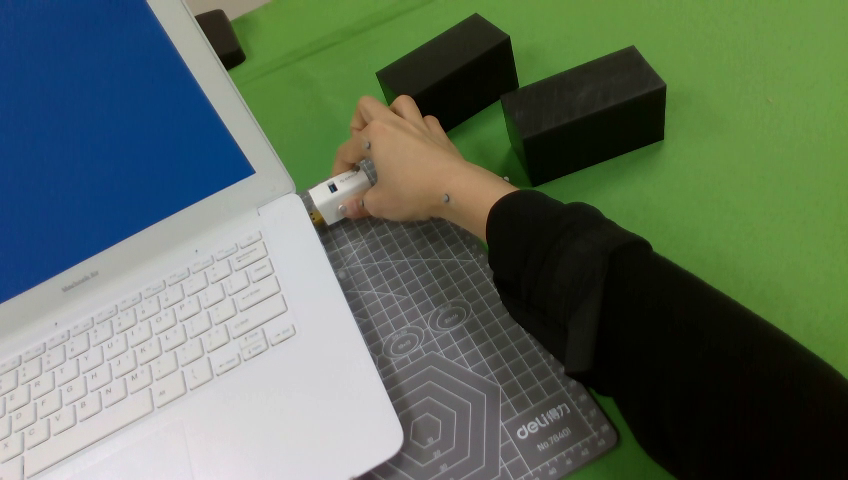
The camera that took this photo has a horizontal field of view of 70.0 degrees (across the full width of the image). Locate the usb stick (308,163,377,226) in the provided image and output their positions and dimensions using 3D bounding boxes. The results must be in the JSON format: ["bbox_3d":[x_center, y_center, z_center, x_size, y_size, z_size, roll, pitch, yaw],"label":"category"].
[{"bbox_3d":[-0.068,-0.031,0.458,0.059,0.027,0.021,-32,48,-2],"label":"usb stick"}]

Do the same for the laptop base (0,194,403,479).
[{"bbox_3d":[-0.208,0.124,0.403,0.354,0.023,0.233,-28,53,-4],"label":"laptop base"}]

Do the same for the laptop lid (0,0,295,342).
[{"bbox_3d":[-0.296,-0.042,0.407,0.357,0.244,0.013,-29,36,-3],"label":"laptop lid"}]
